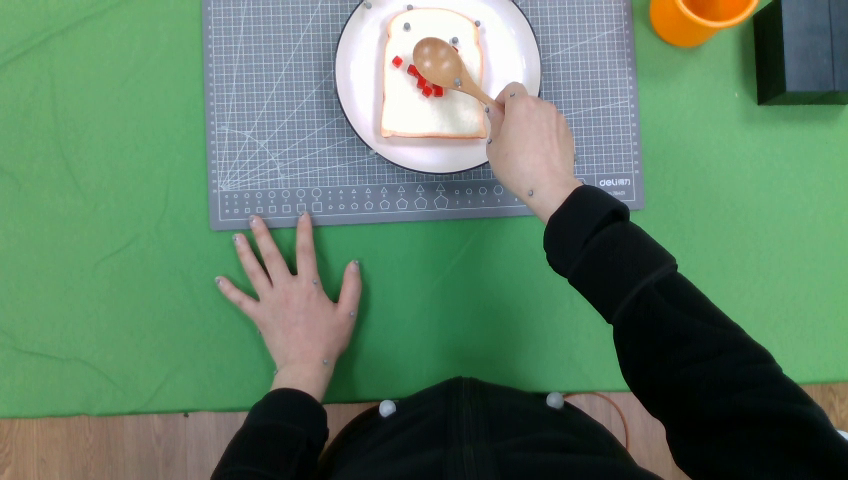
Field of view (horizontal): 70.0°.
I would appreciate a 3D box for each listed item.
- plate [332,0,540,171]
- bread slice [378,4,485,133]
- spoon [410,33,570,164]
[{"bbox_3d":[0.013,-0.171,0.616,0.209,0.038,0.209,0,87,-3],"label":"plate"},{"bbox_3d":[0.005,-0.173,0.617,0.107,0.018,0.134,-3,87,-4],"label":"bread slice"},{"bbox_3d":[0.061,-0.133,0.574,0.192,0.022,0.041,42,86,17],"label":"spoon"}]
